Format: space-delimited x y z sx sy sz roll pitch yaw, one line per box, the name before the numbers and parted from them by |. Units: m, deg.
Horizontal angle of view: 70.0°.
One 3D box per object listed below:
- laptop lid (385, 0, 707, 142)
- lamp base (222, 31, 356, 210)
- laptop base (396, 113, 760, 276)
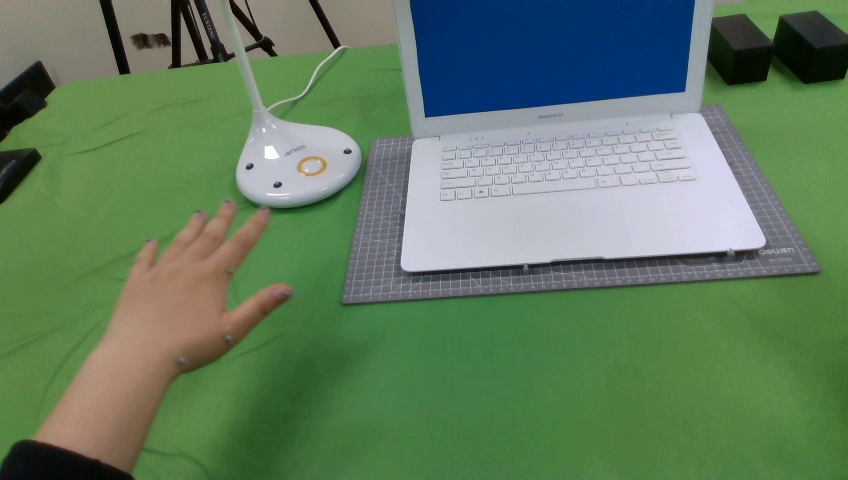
laptop lid | 0.138 -0.231 0.693 0.356 0.244 0.013 -6 35 7
lamp base | -0.185 -0.153 0.729 0.177 0.182 0.160 25 52 36
laptop base | 0.150 -0.054 0.674 0.354 0.023 0.233 -5 45 6
